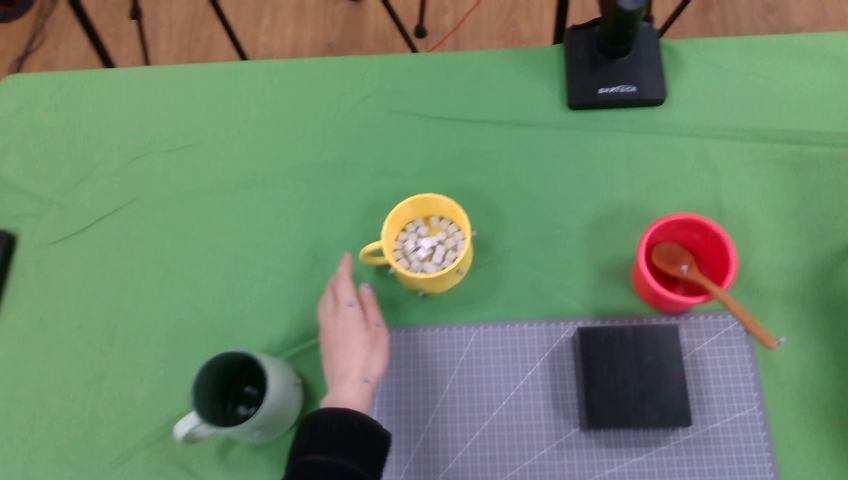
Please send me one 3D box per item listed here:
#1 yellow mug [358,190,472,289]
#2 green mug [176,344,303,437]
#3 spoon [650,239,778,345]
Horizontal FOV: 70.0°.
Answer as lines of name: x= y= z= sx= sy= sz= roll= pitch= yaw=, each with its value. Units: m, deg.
yellow mug: x=-0.011 y=0.004 z=0.693 sx=0.131 sy=0.064 sz=0.099 roll=-12 pitch=70 yaw=2
green mug: x=-0.196 y=0.166 z=0.634 sx=0.125 sy=0.105 sz=0.092 roll=-33 pitch=71 yaw=-7
spoon: x=0.285 y=0.046 z=0.607 sx=0.041 sy=0.192 sz=0.022 roll=-15 pitch=115 yaw=-3
